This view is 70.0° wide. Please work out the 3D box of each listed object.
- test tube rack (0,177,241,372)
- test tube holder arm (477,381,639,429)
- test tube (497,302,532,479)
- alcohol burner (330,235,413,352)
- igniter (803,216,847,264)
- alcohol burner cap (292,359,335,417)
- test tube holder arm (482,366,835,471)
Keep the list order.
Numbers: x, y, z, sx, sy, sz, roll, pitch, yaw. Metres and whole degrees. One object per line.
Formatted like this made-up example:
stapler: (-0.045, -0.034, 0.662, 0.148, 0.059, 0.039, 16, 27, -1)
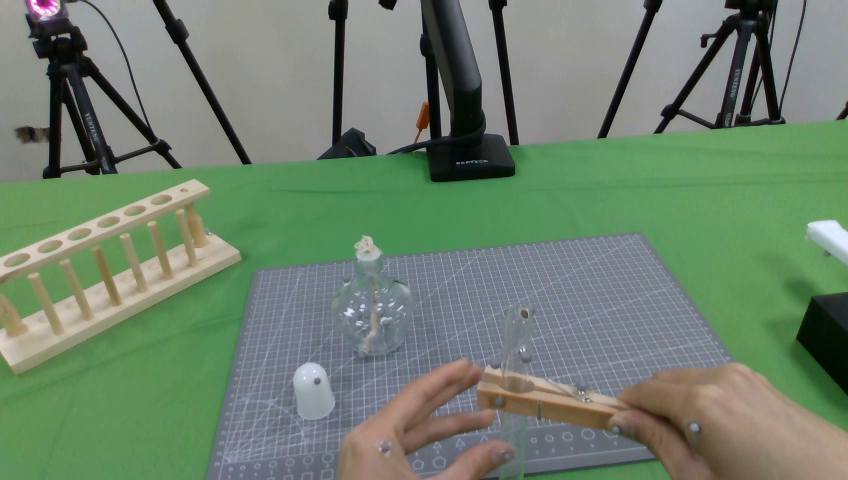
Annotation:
test tube rack: (-0.321, 0.025, 0.628, 0.066, 0.086, 0.242, 27, 45, 36)
test tube holder arm: (0.073, 0.092, 0.337, 0.087, 0.015, 0.010, 4, 35, 16)
test tube: (0.052, 0.103, 0.356, 0.017, 0.151, 0.017, -1, 28, 1)
alcohol burner: (-0.049, 0.044, 0.550, 0.078, 0.120, 0.077, -1, 36, 1)
igniter: (0.415, 0.053, 0.500, 0.057, 0.025, 0.274, -6, 31, -3)
alcohol burner cap: (-0.094, 0.120, 0.506, 0.034, 0.048, 0.033, -1, 35, 1)
test tube holder arm: (0.117, 0.093, 0.327, 0.177, 0.015, 0.013, 8, 37, 21)
